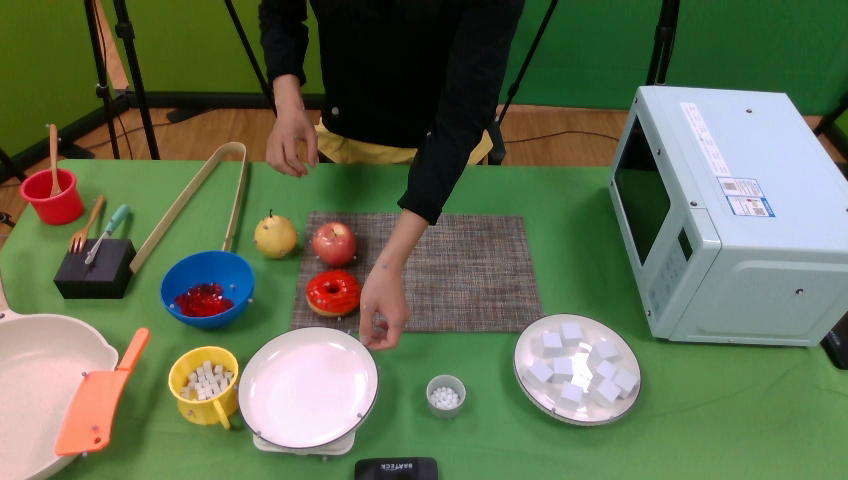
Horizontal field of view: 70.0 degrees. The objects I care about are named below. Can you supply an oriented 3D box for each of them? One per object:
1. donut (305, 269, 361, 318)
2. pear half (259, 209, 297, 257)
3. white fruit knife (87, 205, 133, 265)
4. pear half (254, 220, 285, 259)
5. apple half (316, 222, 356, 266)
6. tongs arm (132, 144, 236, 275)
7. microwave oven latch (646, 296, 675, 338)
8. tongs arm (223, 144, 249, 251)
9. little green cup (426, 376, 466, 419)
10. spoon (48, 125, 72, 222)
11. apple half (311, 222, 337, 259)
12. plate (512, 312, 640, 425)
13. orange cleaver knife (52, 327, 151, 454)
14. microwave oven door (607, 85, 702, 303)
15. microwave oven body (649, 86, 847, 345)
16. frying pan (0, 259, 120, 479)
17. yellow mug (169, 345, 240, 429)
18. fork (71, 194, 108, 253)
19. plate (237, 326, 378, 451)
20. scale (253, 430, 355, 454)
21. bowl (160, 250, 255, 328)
[{"bbox_3d":[-0.160,0.095,1.075,0.099,0.048,0.098,3,45,-3],"label":"donut"},{"bbox_3d":[-0.273,-0.024,1.141,0.076,0.110,0.056,27,50,17],"label":"pear half"},{"bbox_3d":[-0.584,-0.013,1.129,0.016,0.027,0.206,-1,31,-4],"label":"white fruit knife"},{"bbox_3d":[-0.294,0.003,1.127,0.070,0.088,0.031,25,49,16],"label":"pear half"},{"bbox_3d":[-0.157,0.015,1.132,0.053,0.075,0.080,27,47,18],"label":"apple half"},{"bbox_3d":[-0.483,-0.075,1.237,0.028,0.028,0.385,5,45,14],"label":"tongs arm"},{"bbox_3d":[0.412,0.134,1.061,0.030,0.029,0.078,4,45,1],"label":"microwave oven latch"},{"bbox_3d":[-0.397,-0.073,1.232,0.051,0.027,0.382,-3,45,1],"label":"tongs arm"},{"bbox_3d":[0.033,0.248,0.950,0.061,0.039,0.061,2,46,-2],"label":"little green cup"},{"bbox_3d":[-0.718,-0.131,1.189,0.041,0.021,0.193,-3,91,-6],"label":"spoon"},{"bbox_3d":[-0.190,-0.001,1.144,0.032,0.081,0.081,28,51,17],"label":"apple half"},{"bbox_3d":[0.246,0.213,0.999,0.208,0.039,0.206,2,46,-2],"label":"plate"},{"bbox_3d":[-0.462,0.212,0.879,0.077,0.012,0.210,7,45,-2],"label":"orange cleaver knife"},{"bbox_3d":[0.423,-0.094,1.140,0.039,0.245,0.353,2,46,-1],"label":"microwave oven door"},{"bbox_3d":[0.567,-0.053,1.118,0.326,0.261,0.439,2,45,-1],"label":"microwave oven body"},{"bbox_3d":[-0.647,0.164,0.936,0.307,0.103,0.485,-19,58,-22],"label":"frying pan"},{"bbox_3d":[-0.322,0.230,0.922,0.100,0.064,0.130,-24,53,-25],"label":"yellow mug"},{"bbox_3d":[-0.634,-0.036,1.158,0.028,0.019,0.206,-8,32,-8],"label":"fork"},{"bbox_3d":[-0.174,0.224,0.917,0.209,0.038,0.208,2,46,-2],"label":"plate"},{"bbox_3d":[-0.175,0.237,0.951,0.149,0.032,0.199,4,45,0],"label":"scale"},{"bbox_3d":[-0.362,0.098,1.040,0.151,0.077,0.150,2,45,-2],"label":"bowl"}]
